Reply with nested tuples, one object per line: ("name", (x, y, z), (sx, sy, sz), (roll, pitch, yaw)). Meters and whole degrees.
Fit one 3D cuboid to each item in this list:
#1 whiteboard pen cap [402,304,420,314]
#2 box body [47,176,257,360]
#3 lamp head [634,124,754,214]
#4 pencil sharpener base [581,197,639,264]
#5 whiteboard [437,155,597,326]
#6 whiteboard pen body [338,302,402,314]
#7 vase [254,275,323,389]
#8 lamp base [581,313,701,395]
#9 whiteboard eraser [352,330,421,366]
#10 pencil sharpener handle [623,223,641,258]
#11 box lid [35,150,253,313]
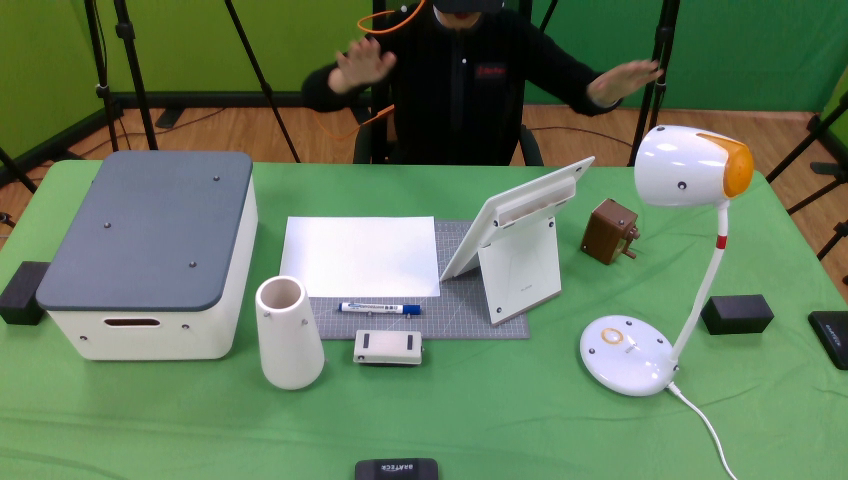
("whiteboard pen cap", (-0.024, 0.123, 1.076), (0.033, 0.018, 0.018), (1, 46, 1))
("box body", (-0.441, 0.022, 1.046), (0.254, 0.161, 0.361), (0, 46, -5))
("lamp head", (0.351, -0.089, 0.776), (0.112, 0.113, 0.122), (-30, 30, -28))
("pencil sharpener base", (0.362, -0.016, 1.178), (0.076, 0.107, 0.061), (35, 53, 26))
("whiteboard", (0.180, 0.023, 1.029), (0.217, 0.306, 0.143), (-22, 71, -23))
("whiteboard pen body", (-0.083, 0.121, 1.074), (0.141, 0.017, 0.017), (3, 46, -2))
("vase", (-0.209, 0.143, 0.921), (0.098, 0.201, 0.097), (1, 46, -1))
("lamp base", (0.361, 0.144, 0.973), (0.178, 0.181, 0.160), (34, 53, 23))
("whiteboard eraser", (-0.061, 0.180, 1.005), (0.113, 0.042, 0.055), (3, 48, -3))
("pencil sharpener handle", (0.399, 0.002, 1.146), (0.030, 0.068, 0.036), (35, 45, 26))
("box lid", (-0.437, -0.032, 0.994), (0.263, 0.015, 0.369), (0, 46, -5))
